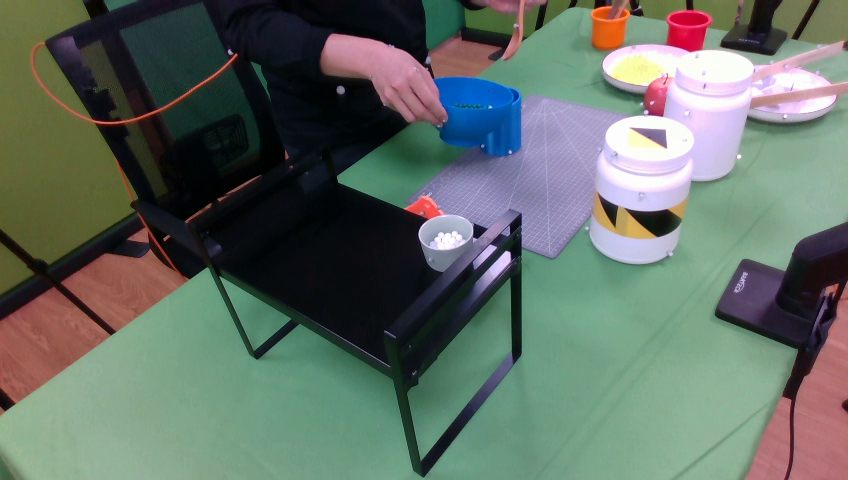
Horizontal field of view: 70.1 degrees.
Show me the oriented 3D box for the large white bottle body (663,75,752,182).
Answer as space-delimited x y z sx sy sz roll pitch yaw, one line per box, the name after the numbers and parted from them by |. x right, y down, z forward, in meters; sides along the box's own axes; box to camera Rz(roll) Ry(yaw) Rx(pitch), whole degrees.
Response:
0.472 -0.207 1.022 0.130 0.185 0.130 -4 41 4 | large white bottle body

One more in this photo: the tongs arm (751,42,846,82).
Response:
0.708 -0.331 1.193 0.386 0.026 0.050 -18 45 -16 | tongs arm

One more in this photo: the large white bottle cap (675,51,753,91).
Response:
0.463 -0.271 0.967 0.115 0.018 0.114 -4 40 3 | large white bottle cap

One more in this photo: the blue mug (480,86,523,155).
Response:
0.135 -0.235 1.163 0.082 0.106 0.115 -36 48 -29 | blue mug

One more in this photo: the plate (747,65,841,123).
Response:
0.695 -0.283 1.189 0.207 0.039 0.206 -4 40 4 | plate

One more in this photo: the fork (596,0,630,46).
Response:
0.481 -0.556 1.452 0.028 0.019 0.207 40 103 40 | fork

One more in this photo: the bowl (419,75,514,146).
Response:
0.064 -0.202 0.966 0.151 0.077 0.150 4 33 -2 | bowl

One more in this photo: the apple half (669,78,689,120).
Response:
0.498 -0.273 1.180 0.032 0.082 0.081 7 42 25 | apple half

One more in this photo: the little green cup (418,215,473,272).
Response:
0.026 0.005 0.678 0.061 0.039 0.061 -4 40 4 | little green cup

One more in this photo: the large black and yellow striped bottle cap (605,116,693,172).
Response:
0.309 -0.134 0.833 0.115 0.019 0.114 -5 40 5 | large black and yellow striped bottle cap

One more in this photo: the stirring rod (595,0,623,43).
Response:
0.460 -0.556 1.459 0.014 0.006 0.176 30 93 23 | stirring rod

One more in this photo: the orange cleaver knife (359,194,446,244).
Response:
-0.032 -0.026 0.965 0.210 0.077 0.012 -9 29 51 | orange cleaver knife

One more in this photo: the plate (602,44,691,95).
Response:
0.494 -0.367 1.317 0.209 0.038 0.208 -4 40 4 | plate

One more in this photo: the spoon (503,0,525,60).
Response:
0.163 -0.386 0.977 0.022 0.193 0.041 12 9 -13 | spoon

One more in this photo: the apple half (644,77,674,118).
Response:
0.463 -0.279 1.194 0.053 0.075 0.081 8 46 25 | apple half

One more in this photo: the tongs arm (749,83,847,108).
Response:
0.734 -0.280 1.133 0.388 0.028 0.028 -9 47 -5 | tongs arm

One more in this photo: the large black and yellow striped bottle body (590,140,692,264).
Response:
0.317 -0.071 0.889 0.131 0.185 0.130 -4 41 4 | large black and yellow striped bottle body
